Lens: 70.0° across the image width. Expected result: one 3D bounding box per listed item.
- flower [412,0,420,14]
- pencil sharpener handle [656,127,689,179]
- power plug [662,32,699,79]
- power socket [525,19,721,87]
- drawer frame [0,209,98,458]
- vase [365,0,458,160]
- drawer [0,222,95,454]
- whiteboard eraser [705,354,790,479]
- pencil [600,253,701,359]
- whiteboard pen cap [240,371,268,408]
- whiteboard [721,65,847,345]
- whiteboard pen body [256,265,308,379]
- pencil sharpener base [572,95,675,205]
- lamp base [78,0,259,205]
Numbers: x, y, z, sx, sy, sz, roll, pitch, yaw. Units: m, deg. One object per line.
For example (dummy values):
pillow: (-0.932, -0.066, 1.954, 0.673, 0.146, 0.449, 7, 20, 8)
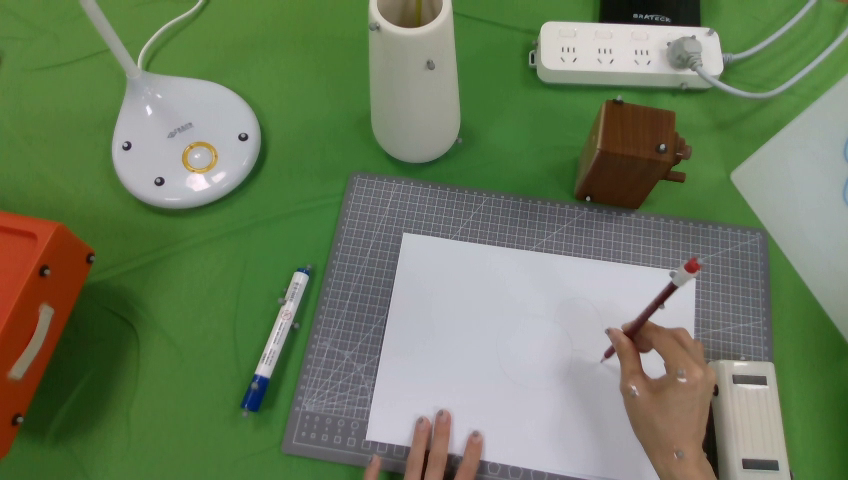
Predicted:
flower: (-0.006, -0.211, 0.530, 0.038, 0.365, 0.043, -4, 49, -8)
pencil sharpener handle: (0.252, -0.083, 0.602, 0.030, 0.068, 0.036, 11, 67, 5)
power plug: (0.284, -0.200, 0.678, 0.035, 0.053, 0.072, 12, 70, 6)
power socket: (0.234, -0.220, 0.711, 0.227, 0.033, 0.071, 3, 68, 1)
drawer frame: (-0.438, 0.065, 0.525, 0.213, 0.083, 0.200, 11, 69, 3)
vase: (-0.014, -0.163, 0.600, 0.098, 0.201, 0.097, -1, 67, 2)
drawer: (-0.432, 0.064, 0.523, 0.211, 0.074, 0.193, 11, 69, 4)
whiteboard eraser: (0.289, 0.161, 0.548, 0.055, 0.042, 0.112, 3, 68, 0)
pencil: (0.180, 0.063, 0.504, 0.012, 0.195, 0.012, 3, 58, -4)
whiteboard pen cap: (-0.158, 0.139, 0.566, 0.018, 0.018, 0.033, 13, 63, 6)
whiteboard: (0.475, -0.075, 0.538, 0.144, 0.307, 0.215, -15, 66, -26)
whiteboard pen body: (-0.142, 0.088, 0.591, 0.017, 0.017, 0.140, 12, 65, 6)
pencil sharpener base: (0.202, -0.087, 0.617, 0.076, 0.108, 0.061, 11, 67, 5)
lamp base: (-0.274, -0.148, 0.604, 0.178, 0.181, 0.160, 40, 73, 18)
